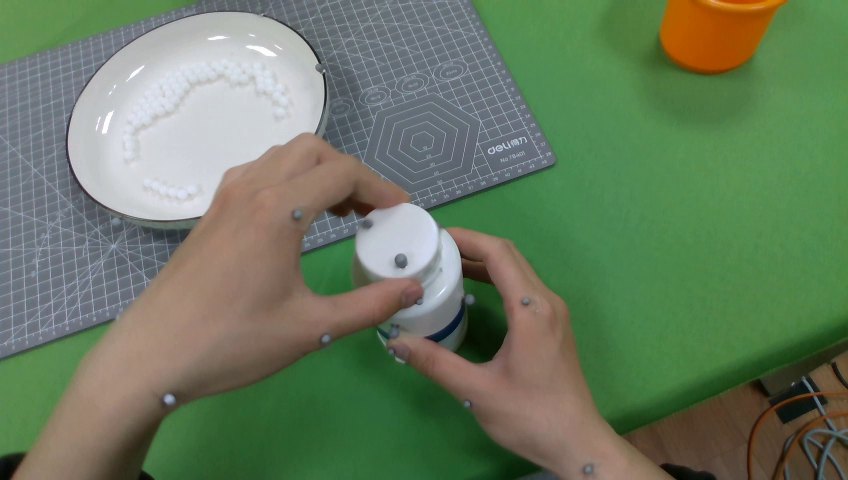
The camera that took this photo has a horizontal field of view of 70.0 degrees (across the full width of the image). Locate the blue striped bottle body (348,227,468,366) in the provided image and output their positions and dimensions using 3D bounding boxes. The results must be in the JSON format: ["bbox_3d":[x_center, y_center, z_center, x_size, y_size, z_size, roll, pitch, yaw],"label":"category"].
[{"bbox_3d":[-0.008,0.029,0.363,0.063,0.122,0.062,-3,62,6],"label":"blue striped bottle body"}]

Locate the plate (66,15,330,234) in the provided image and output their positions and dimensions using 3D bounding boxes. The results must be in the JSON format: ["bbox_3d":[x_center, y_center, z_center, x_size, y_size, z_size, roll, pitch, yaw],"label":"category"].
[{"bbox_3d":[-0.175,-0.093,0.487,0.207,0.039,0.206,-2,63,5],"label":"plate"}]

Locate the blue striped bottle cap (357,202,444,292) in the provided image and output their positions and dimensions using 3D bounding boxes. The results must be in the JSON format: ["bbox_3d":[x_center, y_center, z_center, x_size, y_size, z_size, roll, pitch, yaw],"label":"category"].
[{"bbox_3d":[-0.012,0.003,0.313,0.044,0.021,0.044,-3,66,6],"label":"blue striped bottle cap"}]
